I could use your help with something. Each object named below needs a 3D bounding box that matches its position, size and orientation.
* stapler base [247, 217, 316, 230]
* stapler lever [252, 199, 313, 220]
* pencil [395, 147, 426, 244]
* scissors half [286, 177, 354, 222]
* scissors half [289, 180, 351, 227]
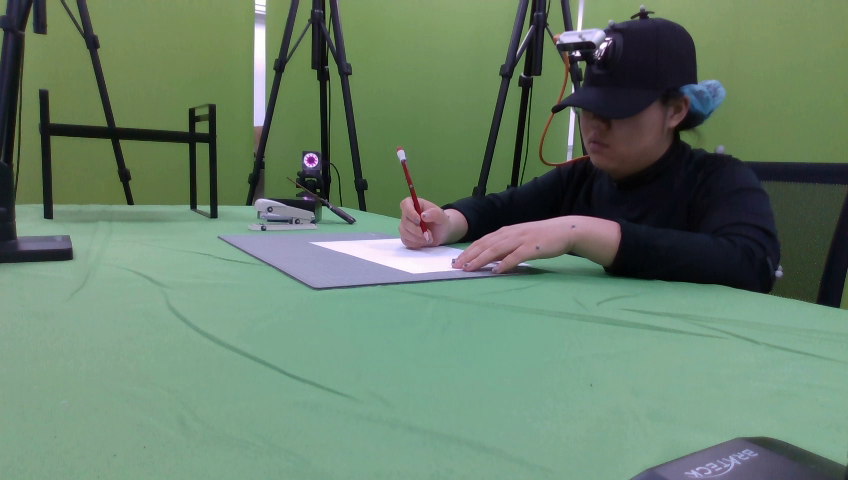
[{"bbox_3d":[-0.276,-0.033,1.172,0.131,0.024,0.041,0,10,-37],"label":"stapler base"},{"bbox_3d":[-0.273,-0.058,1.170,0.119,0.040,0.026,0,10,-37],"label":"stapler lever"},{"bbox_3d":[-0.020,-0.073,0.950,0.012,0.193,0.012,-12,-32,-7],"label":"pencil"},{"bbox_3d":[-0.229,-0.091,1.337,0.175,0.013,0.040,33,15,-13],"label":"scissors half"},{"bbox_3d":[-0.232,-0.085,1.317,0.175,0.013,0.040,38,20,4],"label":"scissors half"}]
